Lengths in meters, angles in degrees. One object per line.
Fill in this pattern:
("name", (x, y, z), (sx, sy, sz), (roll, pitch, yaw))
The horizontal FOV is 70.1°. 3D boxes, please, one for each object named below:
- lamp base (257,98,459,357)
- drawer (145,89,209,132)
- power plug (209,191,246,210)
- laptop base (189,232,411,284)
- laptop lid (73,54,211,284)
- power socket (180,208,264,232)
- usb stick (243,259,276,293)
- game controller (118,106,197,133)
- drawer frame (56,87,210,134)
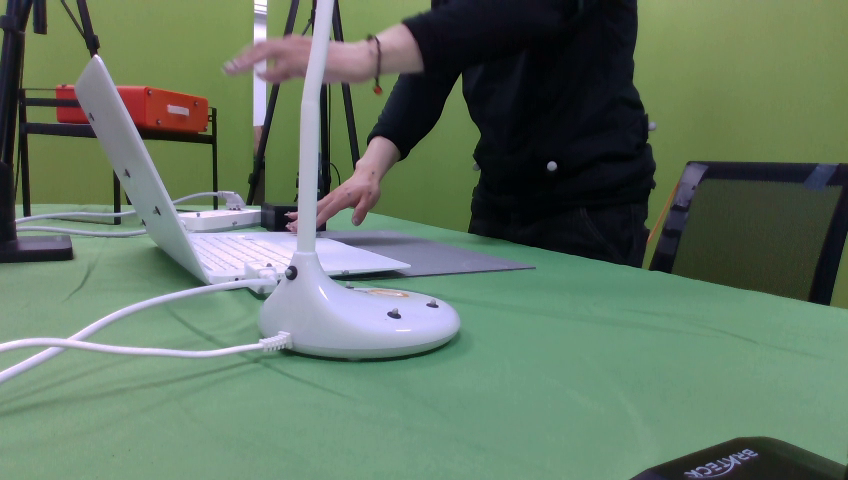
("lamp base", (-0.055, -0.014, 0.463), (0.160, 0.180, 0.180), (6, 11, 27))
("drawer", (-0.595, -0.268, 1.263), (0.211, 0.073, 0.195), (4, 8, 15))
("power plug", (-0.388, -0.071, 1.204), (0.072, 0.052, 0.035), (4, 8, 26))
("laptop base", (-0.204, 0.019, 0.807), (0.237, 0.023, 0.352), (1, 7, -33))
("laptop lid", (-0.341, -0.079, 0.704), (0.013, 0.242, 0.355), (-30, 23, -26))
("power socket", (-0.381, -0.038, 1.128), (0.072, 0.032, 0.227), (4, 8, 16))
("usb stick", (-0.166, 0.035, 0.604), (0.021, 0.027, 0.059), (-8, 8, -28))
("game controller", (-0.555, -0.251, 1.255), (0.097, 0.051, 0.155), (9, 12, 18))
("drawer frame", (-0.598, -0.269, 1.261), (0.213, 0.082, 0.202), (4, 8, 14))
